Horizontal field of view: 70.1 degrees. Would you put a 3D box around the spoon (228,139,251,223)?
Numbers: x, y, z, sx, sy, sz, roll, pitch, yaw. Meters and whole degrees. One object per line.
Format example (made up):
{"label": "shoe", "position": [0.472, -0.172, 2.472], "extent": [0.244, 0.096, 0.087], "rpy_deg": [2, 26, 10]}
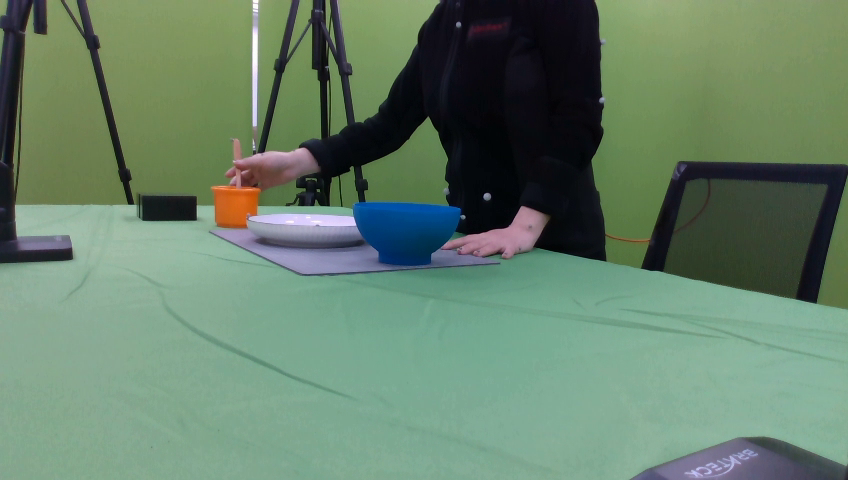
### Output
{"label": "spoon", "position": [-0.366, -0.119, 1.195], "extent": [0.042, 0.193, 0.021], "rpy_deg": [0, -21, -19]}

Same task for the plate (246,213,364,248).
{"label": "plate", "position": [-0.185, -0.017, 0.994], "extent": [0.209, 0.038, 0.209], "rpy_deg": [3, 8, 0]}

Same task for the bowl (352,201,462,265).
{"label": "bowl", "position": [-0.025, -0.009, 0.831], "extent": [0.151, 0.077, 0.151], "rpy_deg": [3, 7, 0]}
